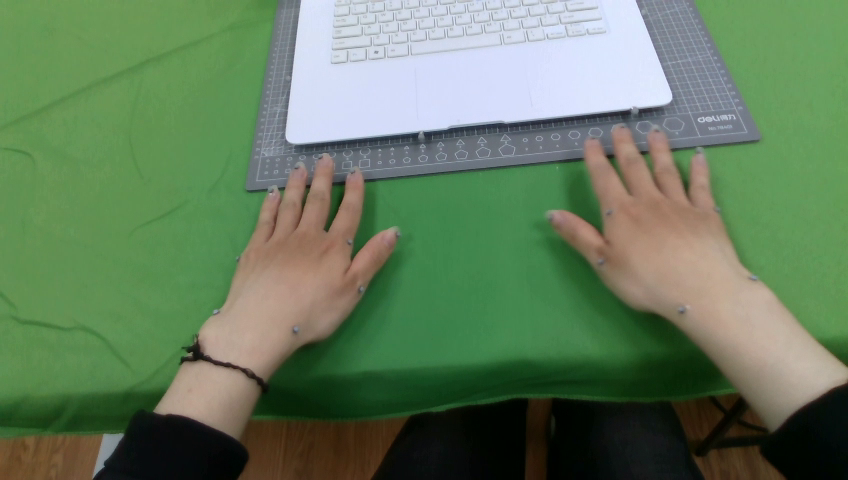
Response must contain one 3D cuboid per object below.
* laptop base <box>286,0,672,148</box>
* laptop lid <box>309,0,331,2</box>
[{"bbox_3d":[0.043,-0.193,0.615,0.354,0.023,0.233,-5,58,3],"label":"laptop base"},{"bbox_3d":[0.026,-0.391,0.629,0.356,0.243,0.013,-7,27,4],"label":"laptop lid"}]
